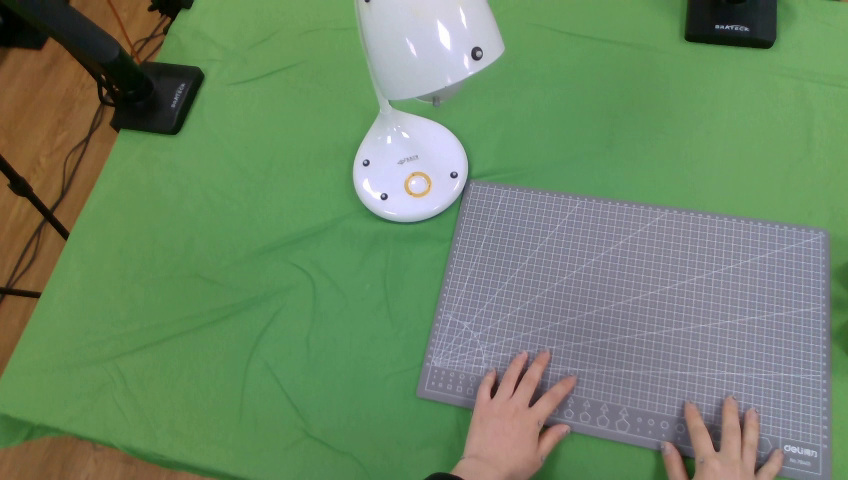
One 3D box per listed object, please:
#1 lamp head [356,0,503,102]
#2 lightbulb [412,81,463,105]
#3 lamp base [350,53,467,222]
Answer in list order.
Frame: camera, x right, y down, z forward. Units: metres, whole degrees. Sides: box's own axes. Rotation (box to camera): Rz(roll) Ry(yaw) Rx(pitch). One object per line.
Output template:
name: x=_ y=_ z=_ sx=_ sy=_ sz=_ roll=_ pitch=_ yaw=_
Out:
lamp head: x=-0.007 y=-0.189 z=0.493 sx=0.112 sy=0.124 sz=0.111 roll=-22 pitch=22 yaw=10
lightbulb: x=-0.001 y=-0.165 z=0.499 sx=0.059 sy=0.108 sz=0.059 roll=-13 pitch=27 yaw=7
lamp base: x=-0.038 y=-0.137 z=0.766 sx=0.160 sy=0.182 sz=0.177 roll=-29 pitch=63 yaw=-5
